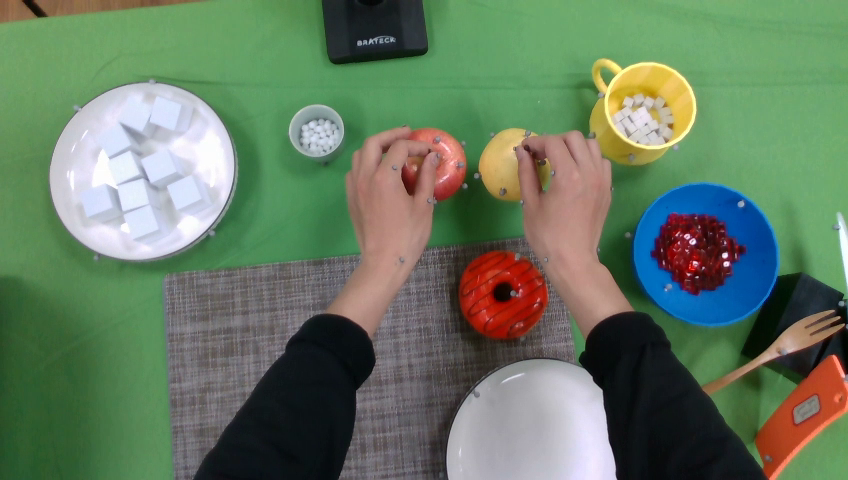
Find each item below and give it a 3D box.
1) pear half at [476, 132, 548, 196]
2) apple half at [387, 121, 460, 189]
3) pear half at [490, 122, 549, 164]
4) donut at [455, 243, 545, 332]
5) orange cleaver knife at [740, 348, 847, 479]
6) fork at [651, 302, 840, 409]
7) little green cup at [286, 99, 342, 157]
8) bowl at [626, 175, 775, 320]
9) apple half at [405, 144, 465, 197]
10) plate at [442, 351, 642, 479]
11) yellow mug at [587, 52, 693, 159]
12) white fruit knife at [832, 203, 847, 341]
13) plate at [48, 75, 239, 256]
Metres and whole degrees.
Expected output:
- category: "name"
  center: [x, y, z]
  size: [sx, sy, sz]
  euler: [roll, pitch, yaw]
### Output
- category: "pear half"
  center: [0.090, -0.078, 0.631]
  size: [0.076, 0.110, 0.056]
  euler: [23, 81, 4]
- category: "apple half"
  center: [-0.007, -0.097, 0.652]
  size: [0.081, 0.075, 0.053]
  euler: [-38, 87, 0]
- category: "pear half"
  center: [0.105, -0.108, 0.645]
  size: [0.070, 0.088, 0.031]
  euler: [22, 84, 6]
- category: "donut"
  center: [0.082, 0.052, 0.665]
  size: [0.099, 0.048, 0.099]
  euler: [0, 84, 2]
- category: "orange cleaver knife"
  center: [0.366, 0.205, 0.631]
  size: [0.012, 0.077, 0.212]
  euler: [26, 112, 2]
- category: "fork"
  center: [0.332, 0.127, 0.639]
  size: [0.207, 0.018, 0.028]
  euler: [-36, 90, 15]
- category: "little green cup"
  center: [-0.123, -0.126, 0.694]
  size: [0.061, 0.039, 0.061]
  euler: [0, 82, 0]
- category: "bowl"
  center: [0.286, 0.012, 0.659]
  size: [0.151, 0.077, 0.151]
  euler: [0, 83, 0]
- category: "apple half"
  center: [0.019, -0.067, 0.652]
  size: [0.081, 0.081, 0.032]
  euler: [-36, 84, -5]
- category: "plate"
  center: [0.123, 0.223, 0.645]
  size: [0.209, 0.038, 0.208]
  euler: [0, 82, 0]
- category: "yellow mug"
  center: [0.233, -0.160, 0.687]
  size: [0.100, 0.064, 0.130]
  euler: [-38, 83, -4]
- category: "white fruit knife"
  center: [0.448, 0.062, 0.635]
  size: [0.027, 0.016, 0.206]
  euler: [1, 79, -29]
- category: "plate"
  center: [-0.311, -0.082, 0.687]
  size: [0.208, 0.039, 0.207]
  euler: [0, 82, 0]
